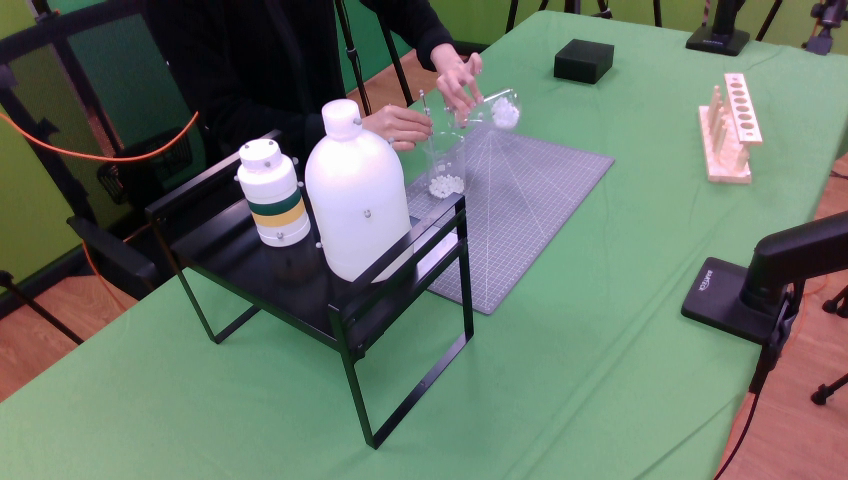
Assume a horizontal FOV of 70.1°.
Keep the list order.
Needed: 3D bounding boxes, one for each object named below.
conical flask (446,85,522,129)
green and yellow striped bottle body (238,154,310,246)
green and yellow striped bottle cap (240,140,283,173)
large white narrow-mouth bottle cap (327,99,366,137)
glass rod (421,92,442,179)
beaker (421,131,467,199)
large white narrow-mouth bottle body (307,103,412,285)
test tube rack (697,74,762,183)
[{"bbox_3d":[0.100,-0.219,1.032,0.122,0.075,0.074,-15,40,-21],"label":"conical flask"},{"bbox_3d":[-0.178,-0.056,0.714,0.063,0.120,0.063,-4,40,4],"label":"green and yellow striped bottle body"},{"bbox_3d":[-0.183,-0.094,0.679,0.045,0.020,0.045,-4,38,4],"label":"green and yellow striped bottle cap"},{"bbox_3d":[-0.075,-0.118,0.582,0.038,0.024,0.037,-3,40,3],"label":"large white narrow-mouth bottle cap"},{"bbox_3d":[0.014,-0.170,1.022,0.008,0.201,0.008,-6,53,8],"label":"glass rod"},{"bbox_3d":[0.040,-0.130,1.060,0.084,0.100,0.073,-24,43,-20],"label":"beaker"},{"bbox_3d":[-0.070,-0.051,0.638,0.102,0.195,0.101,-3,40,3],"label":"large white narrow-mouth bottle body"},{"bbox_3d":[0.547,-0.208,1.094,0.066,0.085,0.242,5,42,15],"label":"test tube rack"}]
